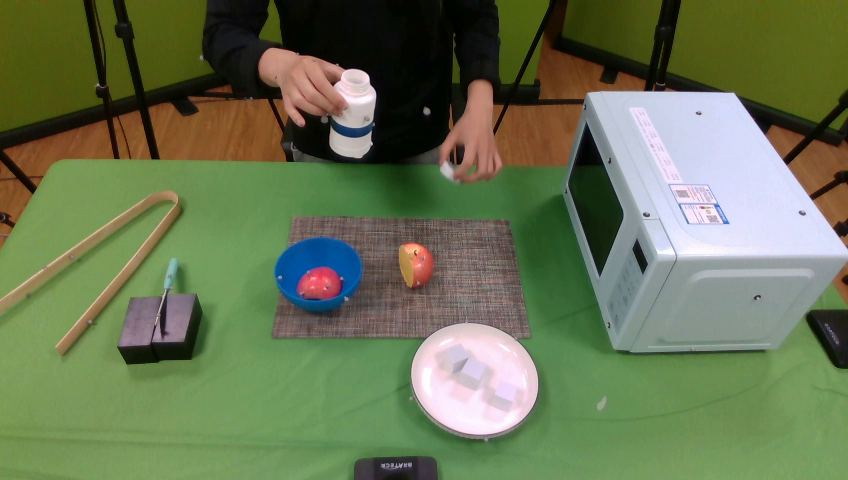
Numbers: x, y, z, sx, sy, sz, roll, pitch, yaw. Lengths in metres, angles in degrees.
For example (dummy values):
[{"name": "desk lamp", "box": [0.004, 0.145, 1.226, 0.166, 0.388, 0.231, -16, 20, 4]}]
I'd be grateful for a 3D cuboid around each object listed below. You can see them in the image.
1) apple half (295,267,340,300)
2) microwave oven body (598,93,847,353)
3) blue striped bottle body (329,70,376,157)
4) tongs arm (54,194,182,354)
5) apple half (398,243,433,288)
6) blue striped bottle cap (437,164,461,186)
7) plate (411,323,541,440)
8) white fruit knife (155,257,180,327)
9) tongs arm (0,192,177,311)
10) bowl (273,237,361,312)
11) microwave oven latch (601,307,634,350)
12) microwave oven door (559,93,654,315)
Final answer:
[{"name": "apple half", "box": [-0.187, 0.070, 1.067, 0.081, 0.033, 0.081, 3, 47, -3]}, {"name": "microwave oven body", "box": [0.475, -0.041, 1.110, 0.326, 0.261, 0.438, -1, 45, -4]}, {"name": "blue striped bottle body", "box": [-0.105, -0.187, 0.887, 0.063, 0.121, 0.062, 7, 45, -6]}, {"name": "tongs arm", "box": [-0.543, 0.048, 1.107, 0.028, 0.028, 0.385, 11, 45, 10]}, {"name": "apple half", "box": [-0.012, 0.046, 1.115, 0.053, 0.075, 0.080, -11, 44, -20]}, {"name": "blue striped bottle cap", "box": [0.047, -0.121, 1.127, 0.044, 0.045, 0.020, 35, 93, 26]}, {"name": "plate", "box": [0.082, 0.228, 0.976, 0.208, 0.039, 0.206, 2, 45, -2]}, {"name": "white fruit knife", "box": [-0.440, 0.085, 1.037, 0.016, 0.027, 0.206, 10, 26, -19]}, {"name": "tongs arm", "box": [-0.618, 0.019, 1.124, 0.050, 0.026, 0.384, 24, 47, 16]}, {"name": "bowl", "box": [-0.186, 0.074, 1.069, 0.151, 0.077, 0.150, 3, 46, -3]}, {"name": "microwave oven latch", "box": [0.332, 0.153, 1.044, 0.030, 0.029, 0.078, -2, 45, -5]}, {"name": "microwave oven door", "box": [0.327, -0.074, 1.123, 0.039, 0.245, 0.353, -1, 46, -5]}]
